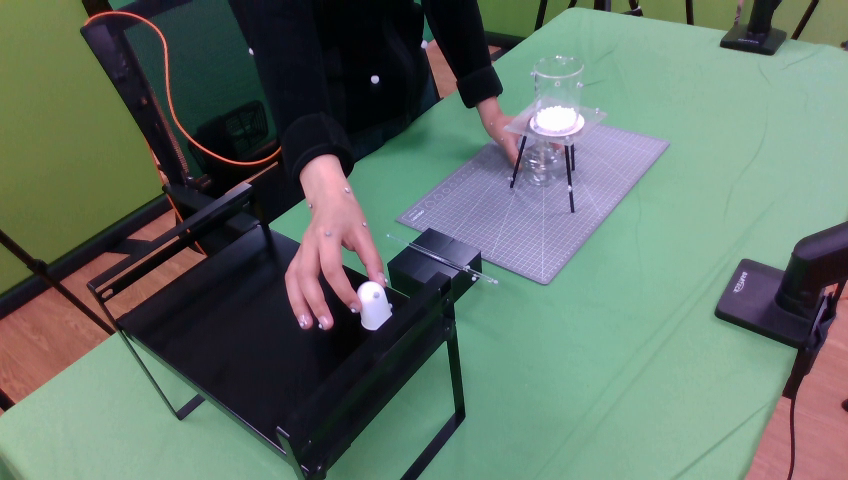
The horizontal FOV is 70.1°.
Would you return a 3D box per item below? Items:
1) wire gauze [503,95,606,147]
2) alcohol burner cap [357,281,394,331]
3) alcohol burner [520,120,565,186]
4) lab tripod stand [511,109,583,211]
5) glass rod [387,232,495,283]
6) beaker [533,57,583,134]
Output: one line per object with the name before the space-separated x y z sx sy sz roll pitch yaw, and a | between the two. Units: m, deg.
wire gauze | 0.212 -0.191 0.976 0.120 0.011 0.125 24 52 33
alcohol burner cap | -0.049 0.061 0.592 0.034 0.048 0.033 -5 36 4
alcohol burner | 0.205 -0.154 1.051 0.078 0.120 0.077 -6 41 6
lab tripod stand | 0.220 -0.138 1.014 0.148 0.132 0.147 -3 41 3
glass rod | 0.020 0.024 0.880 0.198 0.008 0.008 24 49 32
beaker | 0.208 -0.225 0.941 0.073 0.101 0.084 10 44 20
